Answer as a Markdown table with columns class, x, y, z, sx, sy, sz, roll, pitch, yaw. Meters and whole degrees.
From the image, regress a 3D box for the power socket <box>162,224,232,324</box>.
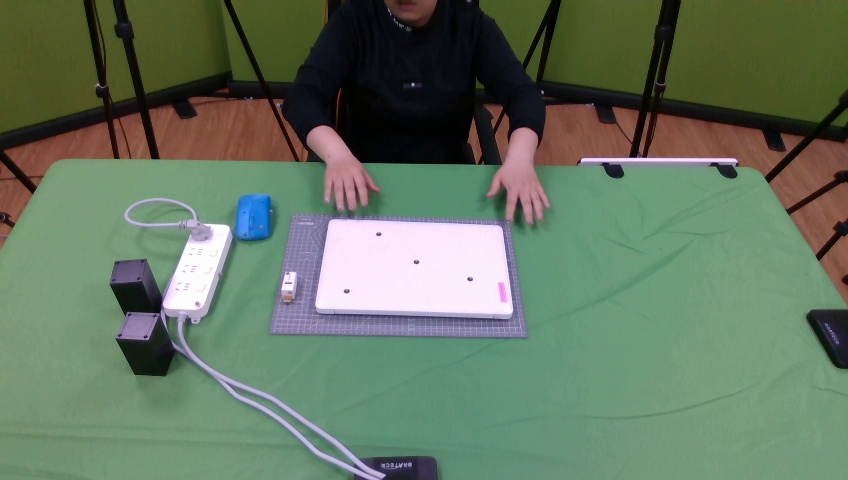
| class | x | y | z | sx | sy | sz | roll | pitch | yaw |
| --- | --- | --- | --- | --- | --- | --- | --- | --- | --- |
| power socket | -0.411 | 0.052 | 1.106 | 0.072 | 0.033 | 0.225 | 3 | 45 | -1 |

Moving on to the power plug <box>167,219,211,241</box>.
| class | x | y | z | sx | sy | sz | roll | pitch | yaw |
| --- | --- | --- | --- | --- | --- | --- | --- | --- | --- |
| power plug | -0.438 | -0.017 | 1.144 | 0.072 | 0.053 | 0.035 | 10 | 44 | 7 |

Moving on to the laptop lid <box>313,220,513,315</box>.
| class | x | y | z | sx | sy | sz | roll | pitch | yaw |
| --- | --- | --- | --- | --- | --- | --- | --- | --- | --- |
| laptop lid | -0.017 | 0.045 | 1.138 | 0.357 | 0.013 | 0.240 | 3 | 43 | -1 |

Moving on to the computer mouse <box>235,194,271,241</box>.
| class | x | y | z | sx | sy | sz | roll | pitch | yaw |
| --- | --- | --- | --- | --- | --- | --- | --- | --- | --- |
| computer mouse | -0.340 | -0.049 | 1.208 | 0.063 | 0.041 | 0.116 | 0 | 50 | -7 |

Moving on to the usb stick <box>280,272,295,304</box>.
| class | x | y | z | sx | sy | sz | roll | pitch | yaw |
| --- | --- | --- | --- | --- | --- | --- | --- | --- | --- |
| usb stick | -0.246 | 0.088 | 1.085 | 0.021 | 0.027 | 0.059 | 4 | 48 | -5 |

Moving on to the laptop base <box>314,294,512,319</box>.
| class | x | y | z | sx | sy | sz | roll | pitch | yaw |
| --- | --- | --- | --- | --- | --- | --- | --- | --- | --- |
| laptop base | -0.018 | 0.055 | 1.144 | 0.354 | 0.023 | 0.234 | 2 | 42 | -2 |
